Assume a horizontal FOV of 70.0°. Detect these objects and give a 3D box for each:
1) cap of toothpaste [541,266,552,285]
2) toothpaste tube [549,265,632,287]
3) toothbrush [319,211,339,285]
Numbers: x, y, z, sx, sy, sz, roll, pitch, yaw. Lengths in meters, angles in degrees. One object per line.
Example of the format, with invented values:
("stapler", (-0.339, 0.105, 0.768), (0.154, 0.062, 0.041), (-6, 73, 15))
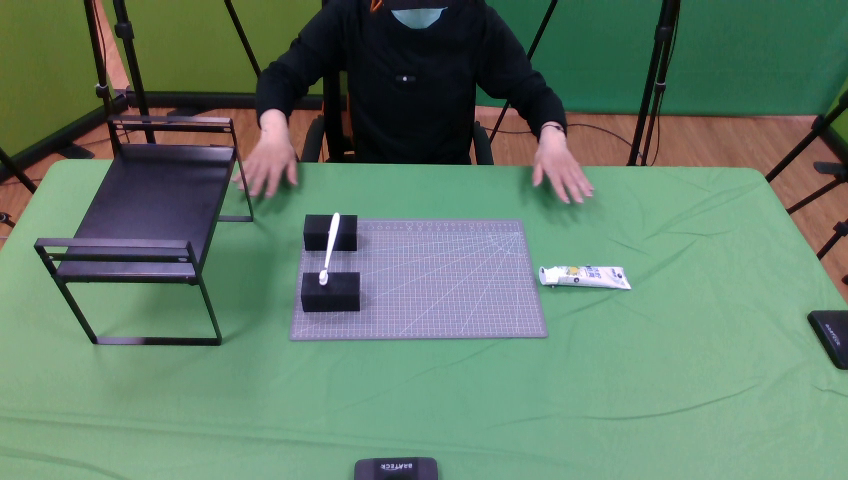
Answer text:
("cap of toothpaste", (0.230, 0.065, 1.135), (0.011, 0.037, 0.037), (-6, 47, -11))
("toothpaste tube", (0.309, 0.068, 1.147), (0.165, 0.034, 0.054), (0, 52, -9))
("toothbrush", (-0.172, 0.009, 1.103), (0.014, 0.017, 0.180), (-6, 44, 9))
